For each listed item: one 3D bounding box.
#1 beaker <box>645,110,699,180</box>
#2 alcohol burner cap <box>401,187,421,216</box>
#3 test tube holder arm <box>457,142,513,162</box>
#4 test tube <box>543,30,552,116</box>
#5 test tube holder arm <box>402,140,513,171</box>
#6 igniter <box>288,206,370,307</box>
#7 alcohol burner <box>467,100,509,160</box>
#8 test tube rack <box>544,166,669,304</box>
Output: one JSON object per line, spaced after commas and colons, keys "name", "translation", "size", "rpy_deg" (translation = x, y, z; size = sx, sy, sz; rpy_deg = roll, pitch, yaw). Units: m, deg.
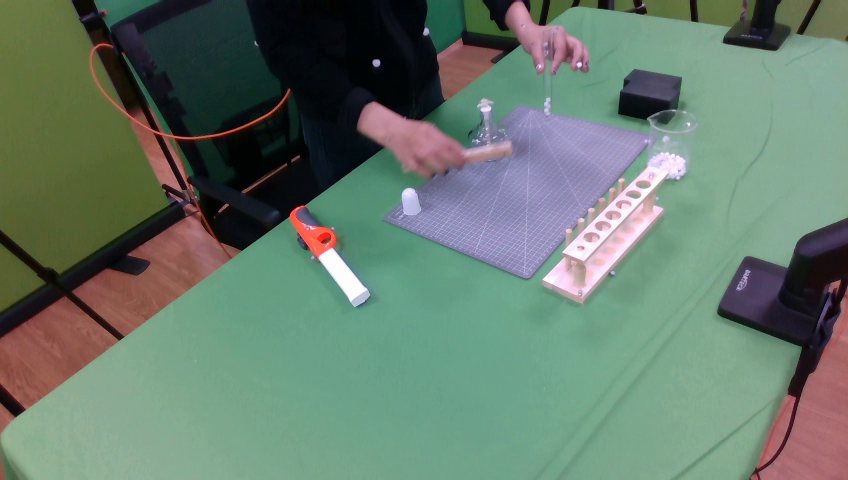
{"name": "beaker", "translation": [0.417, -0.160, 1.032], "size": [0.083, 0.101, 0.074], "rpy_deg": [25, 51, 34]}
{"name": "alcohol burner cap", "translation": [-0.025, -0.070, 1.048], "size": [0.034, 0.048, 0.033], "rpy_deg": [-5, 41, 5]}
{"name": "test tube holder arm", "translation": [0.094, -0.135, 0.934], "size": [0.087, 0.015, 0.010], "rpy_deg": [-9, 36, 15]}
{"name": "test tube", "translation": [0.213, -0.285, 1.042], "size": [0.017, 0.151, 0.017], "rpy_deg": [-5, 34, 4]}
{"name": "test tube holder arm", "translation": [0.051, -0.132, 0.950], "size": [0.178, 0.015, 0.013], "rpy_deg": [-9, 36, 16]}
{"name": "igniter", "translation": [-0.163, 0.017, 0.986], "size": [0.057, 0.025, 0.274], "rpy_deg": [-33, 45, -12]}
{"name": "alcohol burner", "translation": [0.118, -0.210, 1.131], "size": [0.078, 0.119, 0.077], "rpy_deg": [-6, 42, 5]}
{"name": "test tube rack", "translation": [0.274, -0.018, 0.903], "size": [0.066, 0.085, 0.243], "rpy_deg": [26, 51, 35]}
